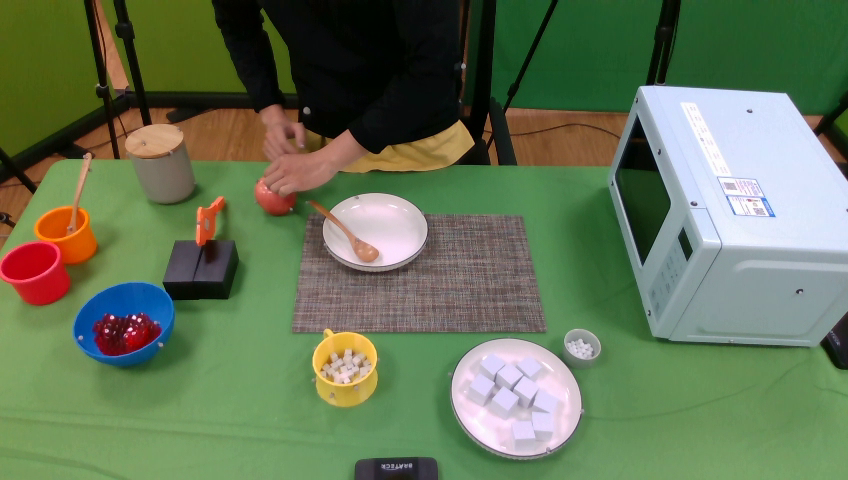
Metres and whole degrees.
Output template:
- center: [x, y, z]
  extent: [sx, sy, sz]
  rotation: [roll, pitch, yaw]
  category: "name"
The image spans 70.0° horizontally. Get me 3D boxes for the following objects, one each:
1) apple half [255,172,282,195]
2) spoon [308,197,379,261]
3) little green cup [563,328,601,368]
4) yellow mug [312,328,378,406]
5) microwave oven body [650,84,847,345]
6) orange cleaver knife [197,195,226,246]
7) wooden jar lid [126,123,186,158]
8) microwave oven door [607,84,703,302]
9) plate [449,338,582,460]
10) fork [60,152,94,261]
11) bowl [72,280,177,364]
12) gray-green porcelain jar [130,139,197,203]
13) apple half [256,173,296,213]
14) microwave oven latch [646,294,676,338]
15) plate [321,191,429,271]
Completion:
- center: [-0.317, -0.108, 1.238]
  extent: [0.081, 0.081, 0.032]
  rotation: [-34, 60, -30]
  category: "apple half"
- center: [-0.158, -0.025, 1.172]
  extent: [0.041, 0.022, 0.193]
  rotation: [-40, 72, -22]
  category: "spoon"
- center: [0.265, 0.185, 1.025]
  extent: [0.061, 0.039, 0.061]
  rotation: [1, 45, -1]
  category: "little green cup"
- center: [-0.132, 0.193, 0.971]
  extent: [0.100, 0.064, 0.130]
  rotation: [-22, 51, -22]
  category: "yellow mug"
- center: [0.569, -0.054, 1.116]
  extent: [0.326, 0.261, 0.439]
  rotation: [2, 46, -1]
  category: "microwave oven body"
- center: [-0.405, -0.041, 1.157]
  extent: [0.012, 0.077, 0.210]
  rotation: [2, 14, -7]
  category: "orange cleaver knife"
- center: [-0.519, -0.190, 1.179]
  extent: [0.108, 0.021, 0.107]
  rotation: [2, 44, -2]
  category: "wooden jar lid"
- center: [0.423, -0.096, 1.137]
  extent: [0.039, 0.245, 0.353]
  rotation: [3, 46, -1]
  category: "microwave oven door"
- center: [0.141, 0.251, 0.956]
  extent: [0.208, 0.039, 0.206]
  rotation: [2, 46, -2]
  category: "plate"
- center: [-0.637, -0.063, 1.119]
  extent: [0.028, 0.019, 0.207]
  rotation: [11, 90, 16]
  category: "fork"
- center: [-0.473, 0.147, 0.982]
  extent: [0.151, 0.077, 0.150]
  rotation: [2, 46, -2]
  category: "bowl"
- center: [-0.522, -0.148, 1.224]
  extent: [0.106, 0.127, 0.105]
  rotation: [2, 47, -2]
  category: "gray-green porcelain jar"
- center: [-0.290, -0.087, 1.221]
  extent: [0.081, 0.075, 0.053]
  rotation: [-33, 60, -32]
  category: "apple half"
- center: [0.413, 0.133, 1.061]
  extent: [0.030, 0.029, 0.078]
  rotation: [4, 46, 1]
  category: "microwave oven latch"
- center: [-0.094, -0.015, 1.185]
  extent: [0.209, 0.038, 0.208]
  rotation: [2, 46, -2]
  category: "plate"
